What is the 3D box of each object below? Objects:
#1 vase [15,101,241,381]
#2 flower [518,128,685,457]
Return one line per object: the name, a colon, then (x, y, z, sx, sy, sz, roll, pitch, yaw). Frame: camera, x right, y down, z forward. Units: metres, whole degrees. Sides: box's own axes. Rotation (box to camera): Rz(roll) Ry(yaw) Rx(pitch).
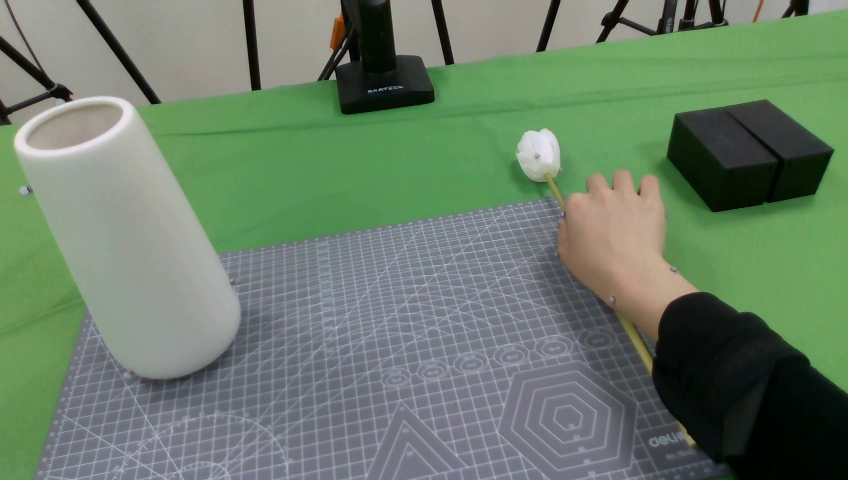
vase: (-0.196, 0.008, 0.422, 0.098, 0.202, 0.097, -2, 40, 2)
flower: (0.143, 0.017, 0.522, 0.044, 0.038, 0.357, -32, 42, 19)
